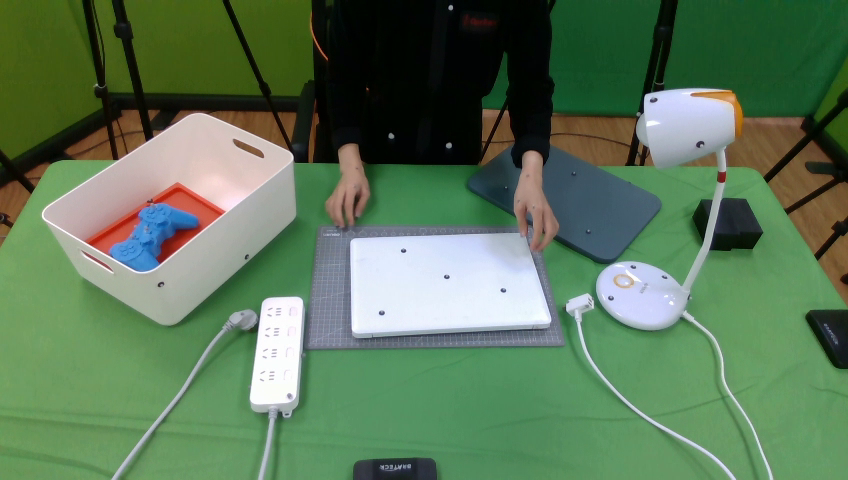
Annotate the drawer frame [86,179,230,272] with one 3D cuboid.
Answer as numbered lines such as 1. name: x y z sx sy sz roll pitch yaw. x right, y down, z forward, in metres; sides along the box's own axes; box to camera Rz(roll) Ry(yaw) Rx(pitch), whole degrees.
1. drawer frame: -0.453 0.010 1.100 0.201 0.083 0.213 28 55 22

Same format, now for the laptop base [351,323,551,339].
1. laptop base: 0.040 0.080 1.125 0.355 0.023 0.234 -2 43 -6

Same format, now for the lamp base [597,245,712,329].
1. lamp base: 0.418 0.051 1.071 0.179 0.181 0.160 22 49 13

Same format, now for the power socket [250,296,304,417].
1. power socket: -0.239 0.182 0.996 0.072 0.033 0.225 -2 47 -5

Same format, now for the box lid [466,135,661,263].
1. box lid: 0.306 -0.102 1.327 0.370 0.015 0.263 32 52 25

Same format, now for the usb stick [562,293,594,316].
1. usb stick: 0.274 0.118 1.088 0.021 0.059 0.027 40 44 -28

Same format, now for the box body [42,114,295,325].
1. box body: -0.437 -0.046 1.110 0.253 0.161 0.363 24 49 19

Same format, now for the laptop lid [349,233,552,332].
1. laptop lid: 0.040 0.070 1.119 0.357 0.013 0.240 -1 44 -5

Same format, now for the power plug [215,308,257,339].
1. power plug: -0.317 0.143 1.024 0.072 0.053 0.035 -33 58 -8

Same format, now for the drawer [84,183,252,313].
1. drawer: -0.457 0.008 1.099 0.194 0.073 0.211 29 49 21

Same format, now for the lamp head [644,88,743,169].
1. lamp head: 0.380 -0.161 0.851 0.122 0.113 0.112 -4 42 25

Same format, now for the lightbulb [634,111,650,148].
1. lightbulb: 0.348 -0.163 0.852 0.059 0.060 0.107 -36 19 -32

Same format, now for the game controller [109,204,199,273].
1. game controller: -0.467 -0.005 1.044 0.097 0.052 0.154 8 45 11
